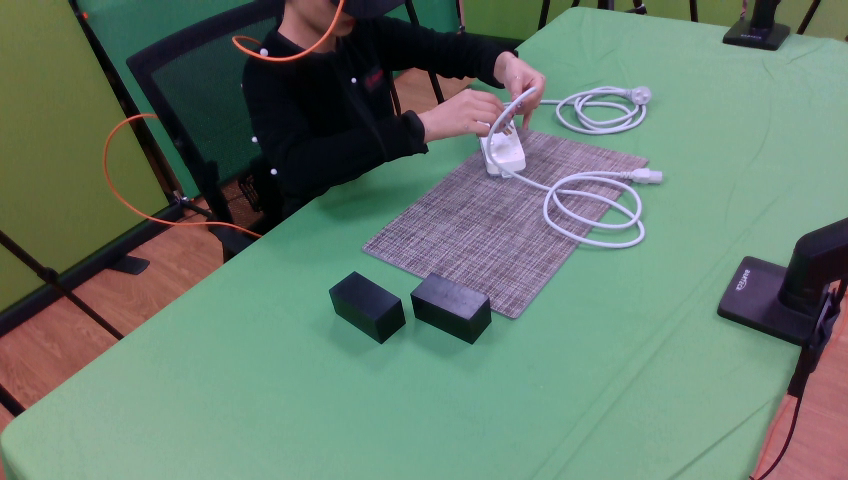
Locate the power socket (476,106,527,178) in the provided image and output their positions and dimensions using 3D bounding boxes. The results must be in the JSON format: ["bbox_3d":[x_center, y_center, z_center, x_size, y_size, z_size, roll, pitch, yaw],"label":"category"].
[{"bbox_3d":[0.146,-0.196,1.173,0.072,0.033,0.225,-7,40,2],"label":"power socket"}]

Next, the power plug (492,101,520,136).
[{"bbox_3d":[0.155,-0.214,1.098,0.072,0.053,0.035,-9,48,52],"label":"power plug"}]
